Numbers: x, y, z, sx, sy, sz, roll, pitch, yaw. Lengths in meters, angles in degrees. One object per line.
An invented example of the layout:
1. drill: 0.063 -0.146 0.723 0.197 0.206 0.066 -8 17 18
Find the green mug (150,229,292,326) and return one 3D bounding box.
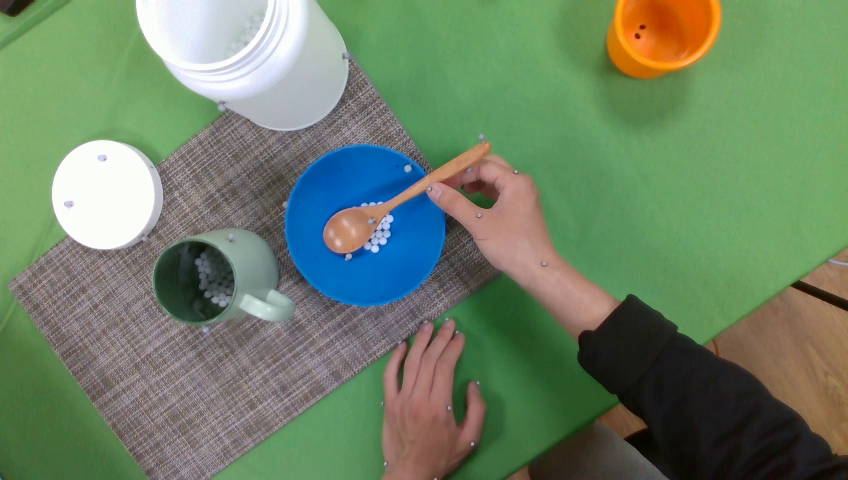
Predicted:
1. green mug: -0.187 0.044 0.588 0.125 0.105 0.092 28 94 2

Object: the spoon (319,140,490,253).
1. spoon: -0.022 -0.039 0.557 0.193 0.021 0.041 -28 93 28

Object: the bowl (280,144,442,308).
1. bowl: -0.055 -0.014 0.589 0.151 0.077 0.151 0 94 4

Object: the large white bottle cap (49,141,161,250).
1. large white bottle cap: -0.335 -0.046 0.636 0.115 0.018 0.115 0 93 4

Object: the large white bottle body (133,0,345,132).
1. large white bottle body: -0.153 -0.175 0.532 0.130 0.185 0.130 0 90 6
